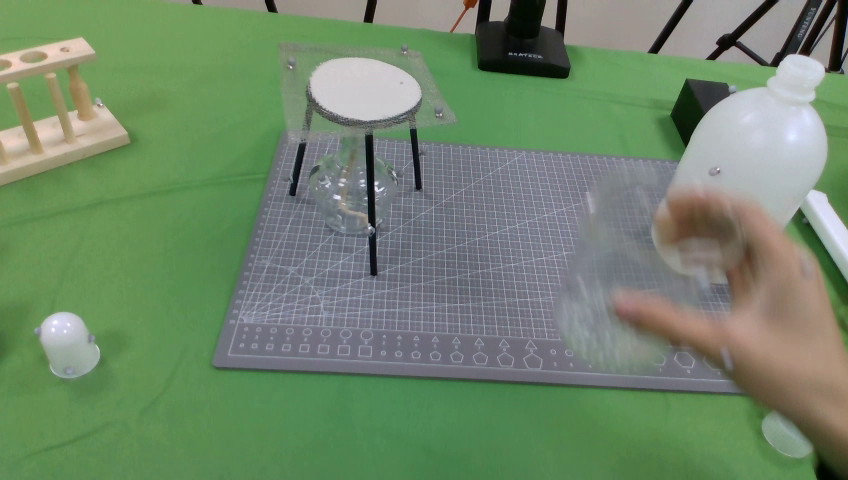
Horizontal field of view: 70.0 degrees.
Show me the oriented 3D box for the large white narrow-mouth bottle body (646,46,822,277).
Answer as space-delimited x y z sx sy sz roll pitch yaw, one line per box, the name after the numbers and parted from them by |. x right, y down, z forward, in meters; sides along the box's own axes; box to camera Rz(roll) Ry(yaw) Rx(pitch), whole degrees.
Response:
0.264 -0.066 0.505 0.102 0.196 0.101 4 45 -3 | large white narrow-mouth bottle body

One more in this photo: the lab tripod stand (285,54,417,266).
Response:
-0.054 -0.073 0.511 0.148 0.132 0.147 5 46 -5 | lab tripod stand

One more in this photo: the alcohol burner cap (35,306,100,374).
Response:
-0.246 0.066 0.413 0.034 0.048 0.033 5 44 -5 | alcohol burner cap

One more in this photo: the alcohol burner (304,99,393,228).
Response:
-0.064 -0.069 0.519 0.078 0.120 0.077 6 44 -5 | alcohol burner

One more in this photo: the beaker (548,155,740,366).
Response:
0.110 0.016 0.332 0.084 0.101 0.073 -6 46 -12 | beaker

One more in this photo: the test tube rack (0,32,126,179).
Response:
-0.404 -0.100 0.525 0.242 0.086 0.066 -28 55 -31 | test tube rack

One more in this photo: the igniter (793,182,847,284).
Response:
0.395 0.042 0.540 0.057 0.025 0.274 12 44 -11 | igniter

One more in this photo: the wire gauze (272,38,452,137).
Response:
-0.051 -0.122 0.464 0.122 0.011 0.123 -5 48 -15 | wire gauze

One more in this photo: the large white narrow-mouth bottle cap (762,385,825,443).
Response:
0.269 0.127 0.442 0.038 0.024 0.037 4 45 -3 | large white narrow-mouth bottle cap
